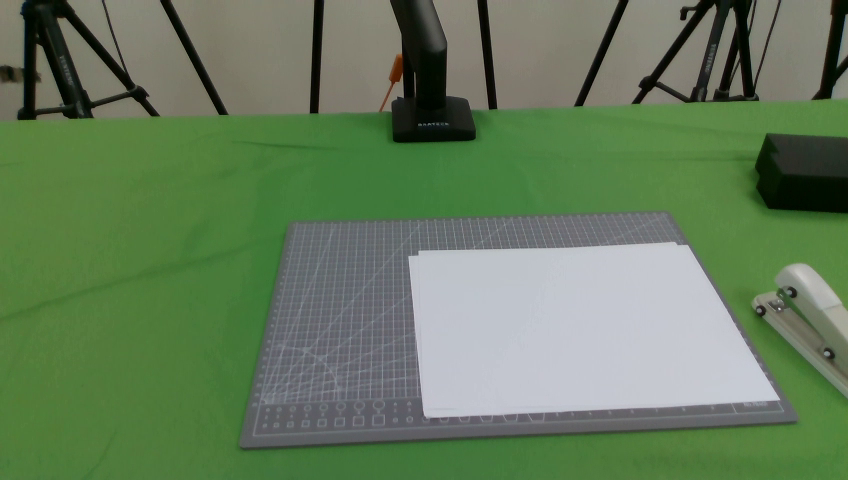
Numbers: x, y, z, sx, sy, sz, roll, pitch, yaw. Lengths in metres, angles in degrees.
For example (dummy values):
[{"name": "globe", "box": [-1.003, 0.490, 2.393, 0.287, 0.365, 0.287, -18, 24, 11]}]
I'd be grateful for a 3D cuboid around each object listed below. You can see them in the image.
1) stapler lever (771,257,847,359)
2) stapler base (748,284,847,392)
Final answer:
[{"name": "stapler lever", "box": [0.358, 0.061, 0.538, 0.027, 0.040, 0.116, -13, 42, -13]}, {"name": "stapler base", "box": [0.357, 0.080, 0.556, 0.041, 0.024, 0.129, -13, 42, -13]}]
